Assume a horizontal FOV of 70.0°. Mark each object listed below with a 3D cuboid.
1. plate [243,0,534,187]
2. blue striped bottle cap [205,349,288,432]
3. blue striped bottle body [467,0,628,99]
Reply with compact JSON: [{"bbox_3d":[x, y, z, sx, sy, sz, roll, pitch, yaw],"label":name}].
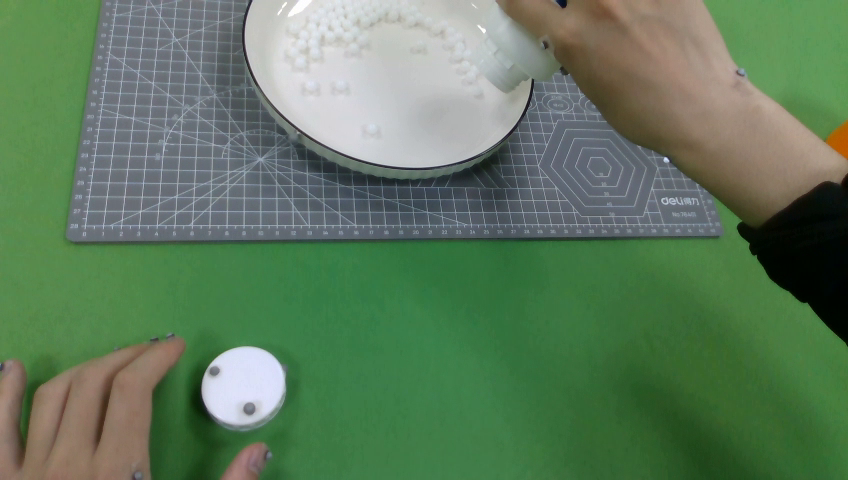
[{"bbox_3d":[-0.023,-0.124,0.442,0.208,0.039,0.206,6,63,-11],"label":"plate"},{"bbox_3d":[-0.098,0.083,0.337,0.045,0.021,0.044,4,66,-10],"label":"blue striped bottle cap"},{"bbox_3d":[0.082,-0.148,0.395,0.063,0.121,0.062,35,28,-22],"label":"blue striped bottle body"}]
